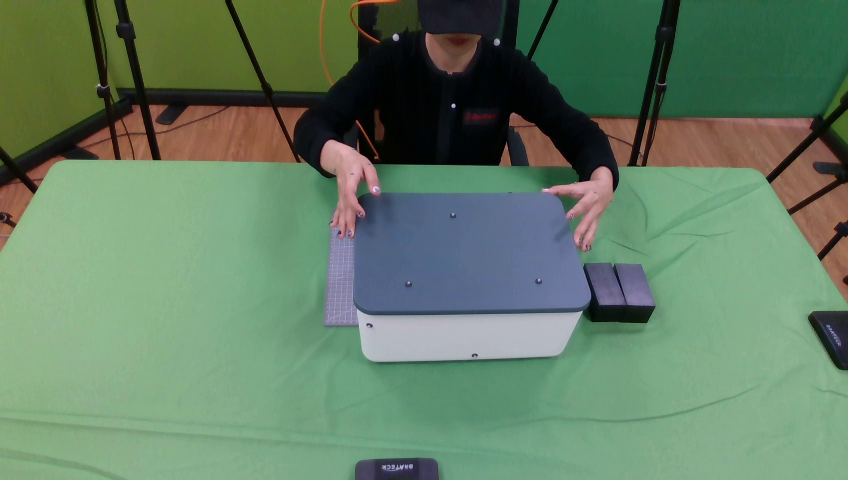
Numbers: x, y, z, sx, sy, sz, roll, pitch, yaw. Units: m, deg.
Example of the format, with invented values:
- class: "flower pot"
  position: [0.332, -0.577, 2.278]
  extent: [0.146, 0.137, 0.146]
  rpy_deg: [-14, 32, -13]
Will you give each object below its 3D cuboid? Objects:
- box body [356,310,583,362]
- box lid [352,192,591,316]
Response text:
- class: "box body"
  position: [0.065, 0.066, 1.040]
  extent: [0.364, 0.161, 0.252]
  rpy_deg: [-1, 46, -5]
- class: "box lid"
  position: [0.071, 0.013, 0.985]
  extent: [0.372, 0.015, 0.261]
  rpy_deg: [-1, 47, -6]
